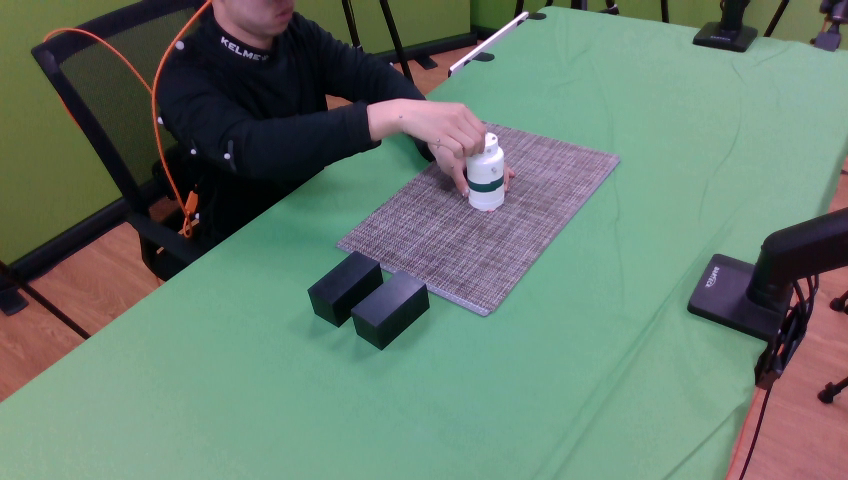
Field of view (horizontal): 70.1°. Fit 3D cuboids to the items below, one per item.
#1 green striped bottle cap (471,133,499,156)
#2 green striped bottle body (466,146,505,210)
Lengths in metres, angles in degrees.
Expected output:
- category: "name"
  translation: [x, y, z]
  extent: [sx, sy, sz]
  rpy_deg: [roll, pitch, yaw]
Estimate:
- category: "green striped bottle cap"
  translation: [0.097, -0.154, 0.970]
  extent: [0.044, 0.020, 0.044]
  rpy_deg: [-7, 40, 6]
- category: "green striped bottle body"
  translation: [0.103, -0.114, 1.005]
  extent: [0.063, 0.120, 0.063]
  rpy_deg: [-4, 41, 4]
